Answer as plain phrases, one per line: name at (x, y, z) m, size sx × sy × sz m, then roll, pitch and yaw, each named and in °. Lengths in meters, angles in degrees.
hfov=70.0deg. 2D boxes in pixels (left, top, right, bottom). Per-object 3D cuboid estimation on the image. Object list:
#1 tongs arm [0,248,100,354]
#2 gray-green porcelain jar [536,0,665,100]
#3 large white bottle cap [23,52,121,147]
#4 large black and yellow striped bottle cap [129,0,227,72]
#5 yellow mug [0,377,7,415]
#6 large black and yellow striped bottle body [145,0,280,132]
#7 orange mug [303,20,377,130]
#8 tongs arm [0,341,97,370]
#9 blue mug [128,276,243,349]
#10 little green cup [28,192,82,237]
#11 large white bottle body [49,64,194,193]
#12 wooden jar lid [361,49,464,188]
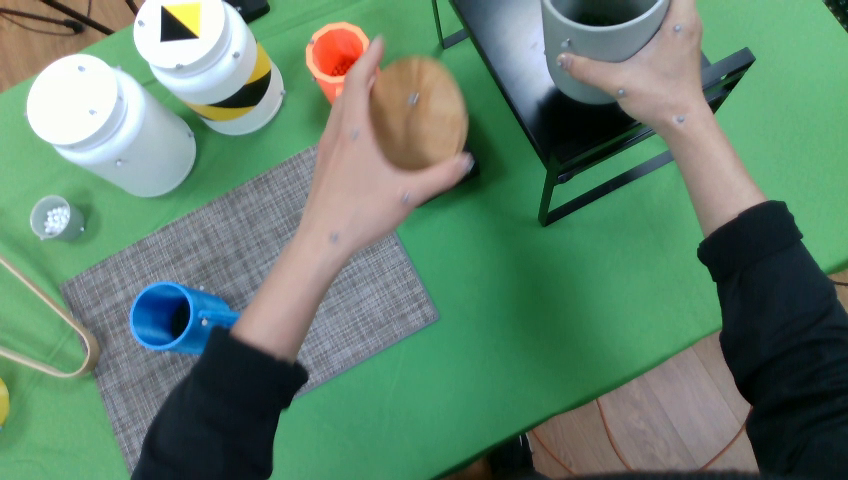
tongs arm at (-0.592, 0.028, 0.841) m, size 0.386 × 0.028 × 0.028 m, roll 37°, pitch 75°, yaw 6°
gray-green porcelain jar at (0.156, -0.195, 0.539) m, size 0.105 × 0.127 × 0.105 m, roll -4°, pitch 72°, yaw 13°
large white bottle cap at (-0.417, -0.167, 0.716) m, size 0.115 × 0.018 × 0.114 m, roll -1°, pitch 78°, yaw 7°
large black and yellow striped bottle cap at (-0.294, -0.257, 0.723) m, size 0.115 × 0.019 × 0.114 m, roll -1°, pitch 77°, yaw 5°
yellow mug at (-0.629, 0.231, 0.803) m, size 0.100 × 0.064 × 0.130 m, roll 9°, pitch 80°, yaw 8°
large black and yellow striped bottle body at (-0.282, -0.237, 0.804) m, size 0.130 × 0.185 × 0.130 m, roll -1°, pitch 77°, yaw 7°
orange mug at (-0.109, -0.219, 0.825) m, size 0.083 × 0.101 × 0.125 m, roll -6°, pitch 73°, yaw 6°
tongs arm at (-0.633, 0.100, 0.826) m, size 0.384 × 0.026 × 0.050 m, roll 23°, pitch 77°, yaw 4°
blue mug at (-0.291, 0.094, 0.770) m, size 0.116 × 0.106 × 0.082 m, roll -4°, pitch 77°, yaw 6°
little green cup at (-0.523, -0.034, 0.862) m, size 0.061 × 0.039 × 0.061 m, roll -1°, pitch 78°, yaw 6°
large white bottle body at (-0.406, -0.148, 0.798) m, size 0.130 × 0.185 × 0.130 m, roll -1°, pitch 77°, yaw 7°
wooden jar lid at (-0.009, -0.096, 0.487) m, size 0.107 × 0.021 × 0.108 m, roll 10°, pitch 105°, yaw 42°
